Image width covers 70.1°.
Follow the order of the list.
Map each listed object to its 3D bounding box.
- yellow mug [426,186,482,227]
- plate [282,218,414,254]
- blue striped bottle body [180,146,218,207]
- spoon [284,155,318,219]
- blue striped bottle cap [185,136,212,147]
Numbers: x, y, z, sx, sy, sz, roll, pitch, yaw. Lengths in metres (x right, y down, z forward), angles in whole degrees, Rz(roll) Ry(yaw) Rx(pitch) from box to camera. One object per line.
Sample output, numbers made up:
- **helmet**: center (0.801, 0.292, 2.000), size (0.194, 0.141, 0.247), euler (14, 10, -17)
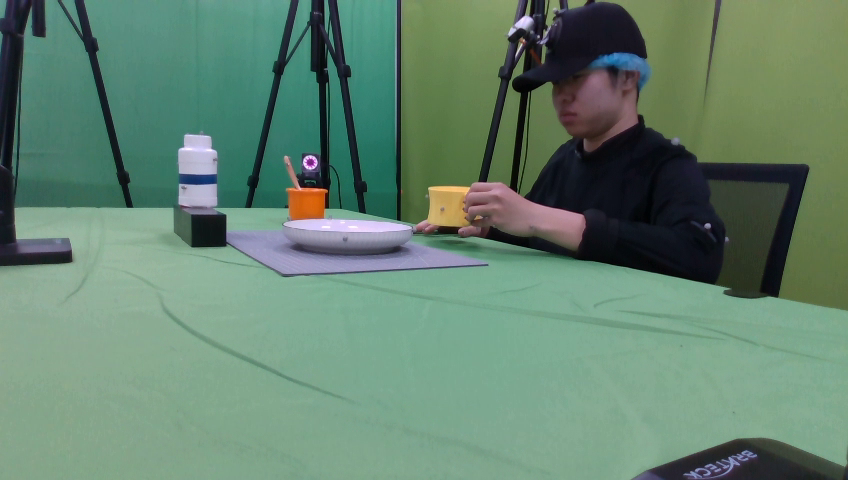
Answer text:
- **yellow mug**: center (0.061, -0.061, 1.099), size (0.100, 0.064, 0.130), euler (-3, 11, -23)
- **plate**: center (-0.121, -0.007, 0.971), size (0.208, 0.039, 0.207), euler (2, 7, 0)
- **blue striped bottle body**: center (-0.392, -0.119, 1.053), size (0.063, 0.120, 0.063), euler (2, 8, 0)
- **spoon**: center (-0.286, -0.122, 1.367), size (0.042, 0.021, 0.193), euler (-5, 50, -36)
- **blue striped bottle cap**: center (-0.390, -0.169, 1.047), size (0.044, 0.020, 0.044), euler (4, 10, 0)
